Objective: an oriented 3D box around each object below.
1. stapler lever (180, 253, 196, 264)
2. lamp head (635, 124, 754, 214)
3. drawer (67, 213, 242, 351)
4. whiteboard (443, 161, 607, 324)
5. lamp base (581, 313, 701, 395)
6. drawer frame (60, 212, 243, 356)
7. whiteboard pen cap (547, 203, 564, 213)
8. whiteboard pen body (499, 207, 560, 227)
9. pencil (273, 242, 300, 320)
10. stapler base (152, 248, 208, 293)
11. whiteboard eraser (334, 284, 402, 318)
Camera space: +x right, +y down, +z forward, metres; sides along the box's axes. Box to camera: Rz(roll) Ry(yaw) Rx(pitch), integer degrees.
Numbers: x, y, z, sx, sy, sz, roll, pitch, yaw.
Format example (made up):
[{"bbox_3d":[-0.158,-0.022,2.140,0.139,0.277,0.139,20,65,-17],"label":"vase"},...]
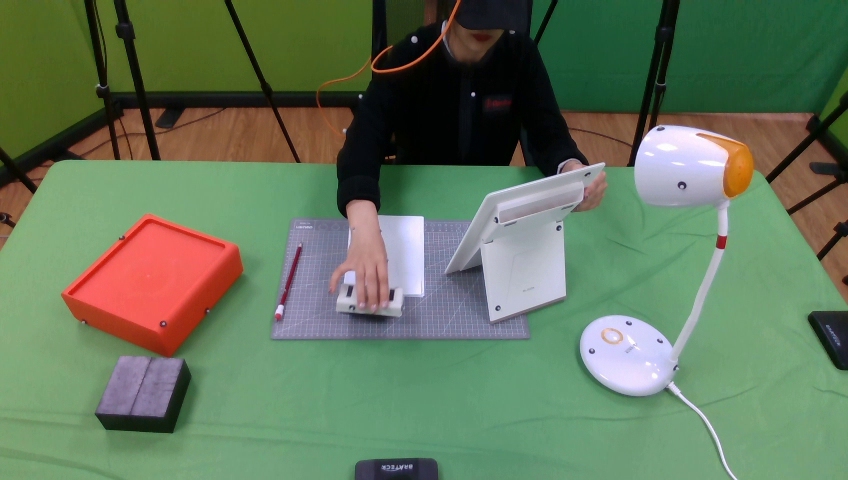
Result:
[{"bbox_3d":[-0.440,0.026,1.086,0.117,0.040,0.027,30,37,30],"label":"stapler lever"},{"bbox_3d":[0.351,-0.089,0.775,0.112,0.113,0.122,-30,30,-28],"label":"lamp head"},{"bbox_3d":[-0.461,0.068,1.057,0.194,0.073,0.211,19,48,13],"label":"drawer"},{"bbox_3d":[0.185,0.026,1.028,0.217,0.306,0.143,-15,68,-18],"label":"whiteboard"},{"bbox_3d":[0.361,0.144,0.973,0.178,0.181,0.160,34,53,23],"label":"lamp base"},{"bbox_3d":[-0.462,0.070,1.053,0.201,0.083,0.213,18,48,12],"label":"drawer frame"},{"bbox_3d":[0.277,-0.066,1.275,0.033,0.018,0.018,-19,50,-15],"label":"whiteboard pen cap"},{"bbox_3d":[0.221,-0.051,1.260,0.141,0.017,0.017,-15,49,-16],"label":"whiteboard pen body"},{"bbox_3d":[-0.249,0.071,1.115,0.012,0.012,0.193,5,44,1],"label":"pencil"},{"bbox_3d":[-0.443,0.049,1.101,0.130,0.024,0.041,32,37,29],"label":"stapler base"},{"bbox_3d":[-0.095,0.107,1.039,0.113,0.042,0.055,4,32,-1],"label":"whiteboard eraser"}]
